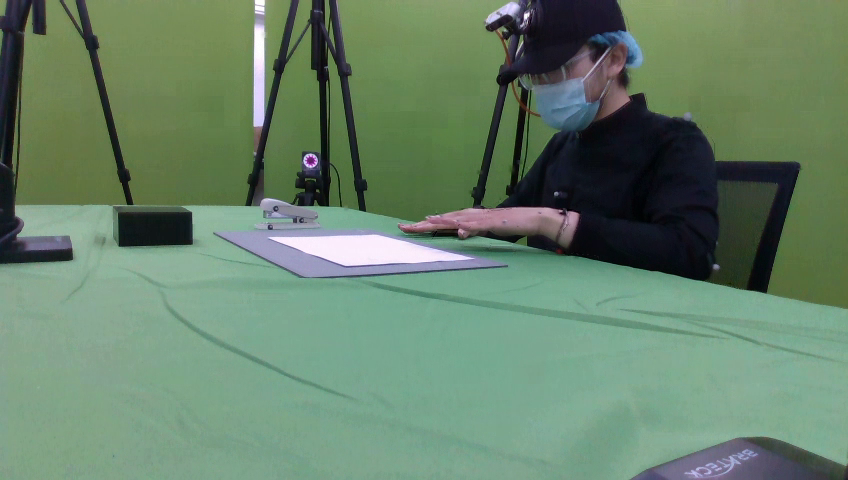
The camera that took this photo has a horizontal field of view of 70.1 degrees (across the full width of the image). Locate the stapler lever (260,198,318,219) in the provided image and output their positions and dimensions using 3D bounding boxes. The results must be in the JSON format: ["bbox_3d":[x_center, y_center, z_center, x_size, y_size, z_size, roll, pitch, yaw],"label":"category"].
[{"bbox_3d":[-0.267,-0.061,1.195,0.119,0.040,0.026,-1,11,-40],"label":"stapler lever"}]

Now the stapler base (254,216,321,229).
[{"bbox_3d":[-0.269,-0.036,1.197,0.131,0.024,0.041,-1,11,-40],"label":"stapler base"}]
